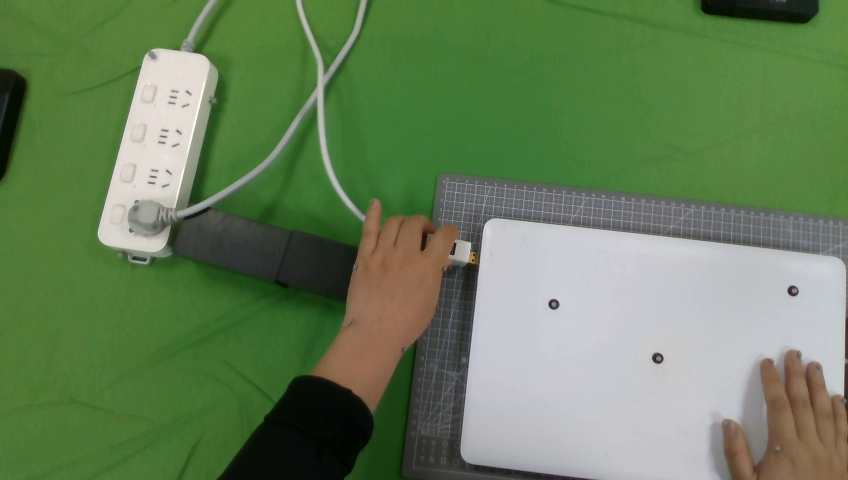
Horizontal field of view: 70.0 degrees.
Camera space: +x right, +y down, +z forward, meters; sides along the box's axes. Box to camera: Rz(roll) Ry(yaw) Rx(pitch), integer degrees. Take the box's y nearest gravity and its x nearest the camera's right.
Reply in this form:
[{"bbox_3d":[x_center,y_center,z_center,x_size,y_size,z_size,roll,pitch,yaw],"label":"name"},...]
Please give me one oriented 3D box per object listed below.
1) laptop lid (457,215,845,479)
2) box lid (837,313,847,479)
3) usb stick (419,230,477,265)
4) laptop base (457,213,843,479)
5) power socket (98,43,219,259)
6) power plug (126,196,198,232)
[{"bbox_3d":[0.217,0.109,0.572,0.357,0.013,0.241,8,83,1],"label":"laptop lid"},{"bbox_3d":[0.517,0.252,0.562,0.263,0.015,0.370,6,80,0],"label":"box lid"},{"bbox_3d":[0.027,0.009,0.588,0.059,0.027,0.021,12,67,-9],"label":"usb stick"},{"bbox_3d":[0.218,0.108,0.583,0.354,0.023,0.235,7,84,1],"label":"laptop base"},{"bbox_3d":[-0.266,-0.094,0.612,0.072,0.033,0.226,10,80,1],"label":"power socket"},{"bbox_3d":[-0.249,-0.018,0.579,0.072,0.053,0.035,23,78,3],"label":"power plug"}]
